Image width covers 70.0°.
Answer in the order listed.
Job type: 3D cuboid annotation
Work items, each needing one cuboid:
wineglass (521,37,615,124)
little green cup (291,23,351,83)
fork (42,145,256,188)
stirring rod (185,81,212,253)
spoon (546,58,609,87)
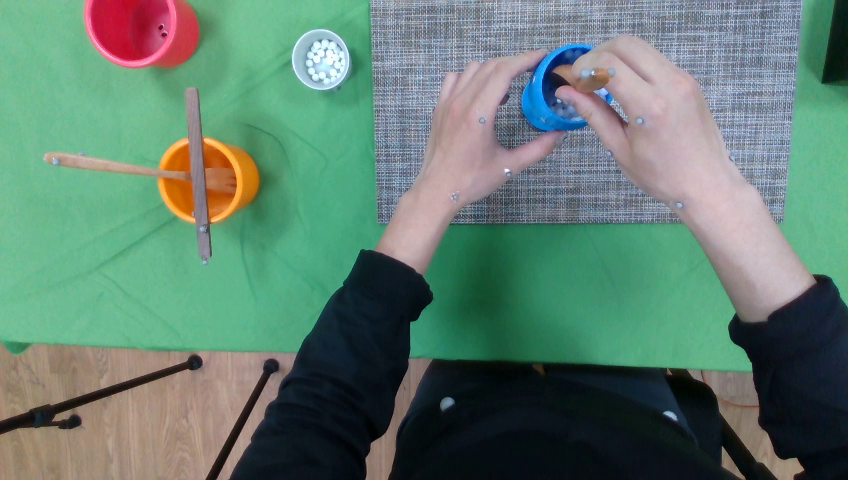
[{"bbox_3d":[0.130,-0.145,0.574,0.073,0.172,0.074,1,99,5],"label":"wineglass"},{"bbox_3d":[-0.109,-0.199,0.654,0.061,0.038,0.062,1,101,5],"label":"little green cup"},{"bbox_3d":[-0.276,-0.077,0.632,0.209,0.018,0.028,4,111,-41],"label":"fork"},{"bbox_3d":[-0.233,-0.074,0.628,0.014,0.006,0.176,0,100,4],"label":"stirring rod"},{"bbox_3d":[0.115,-0.121,0.445,0.041,0.193,0.022,19,109,1],"label":"spoon"}]
